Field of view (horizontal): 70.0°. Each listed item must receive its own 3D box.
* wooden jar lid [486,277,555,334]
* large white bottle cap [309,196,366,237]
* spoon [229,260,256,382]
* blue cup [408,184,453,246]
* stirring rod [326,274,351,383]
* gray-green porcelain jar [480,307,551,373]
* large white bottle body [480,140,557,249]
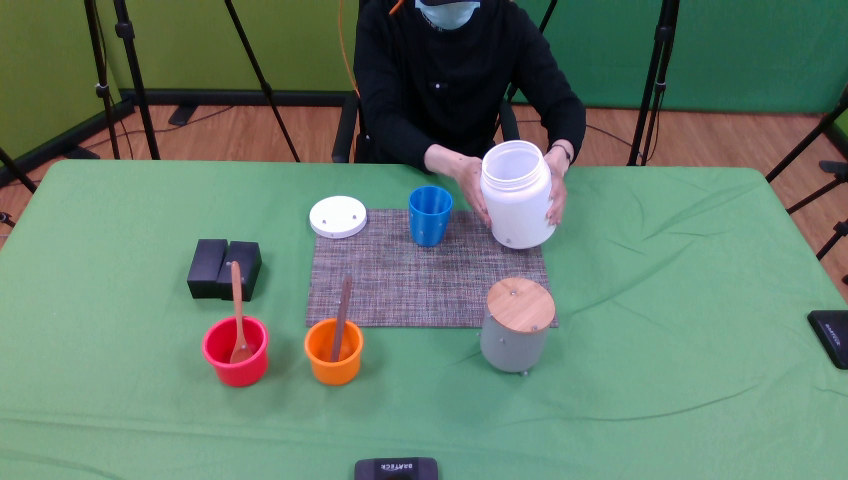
[{"bbox_3d":[0.150,0.105,0.948,0.108,0.021,0.107,3,47,-3],"label":"wooden jar lid"},{"bbox_3d":[-0.176,-0.049,1.229,0.115,0.018,0.114,0,43,0],"label":"large white bottle cap"},{"bbox_3d":[-0.294,0.129,0.966,0.042,0.021,0.193,-4,91,-8],"label":"spoon"},{"bbox_3d":[0.008,-0.043,1.177,0.093,0.101,0.092,3,48,-3],"label":"blue cup"},{"bbox_3d":[-0.137,0.142,0.971,0.014,0.006,0.176,9,89,1],"label":"stirring rod"},{"bbox_3d":[0.148,0.148,0.992,0.106,0.127,0.105,2,46,-2],"label":"gray-green porcelain jar"},{"bbox_3d":[0.178,-0.086,1.144,0.130,0.186,0.130,-9,48,11],"label":"large white bottle body"}]
